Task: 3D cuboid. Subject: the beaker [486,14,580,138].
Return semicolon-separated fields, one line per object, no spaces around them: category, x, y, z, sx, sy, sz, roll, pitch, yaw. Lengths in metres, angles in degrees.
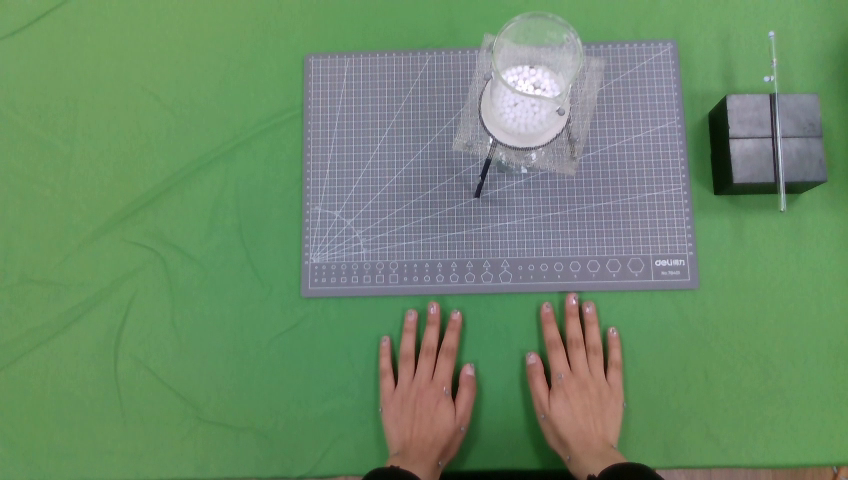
beaker;0.094;-0.137;0.538;0.074;0.100;0.083;-28;79;-2

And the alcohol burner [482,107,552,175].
alcohol burner;0.102;-0.113;0.659;0.078;0.119;0.077;-1;80;5

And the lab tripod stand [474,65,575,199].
lab tripod stand;0.098;-0.119;0.650;0.148;0.132;0.147;-1;79;5

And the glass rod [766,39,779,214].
glass rod;0.378;-0.125;0.656;0.008;0.008;0.199;3;81;3

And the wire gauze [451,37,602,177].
wire gauze;0.100;-0.129;0.585;0.121;0.011;0.124;16;79;5
